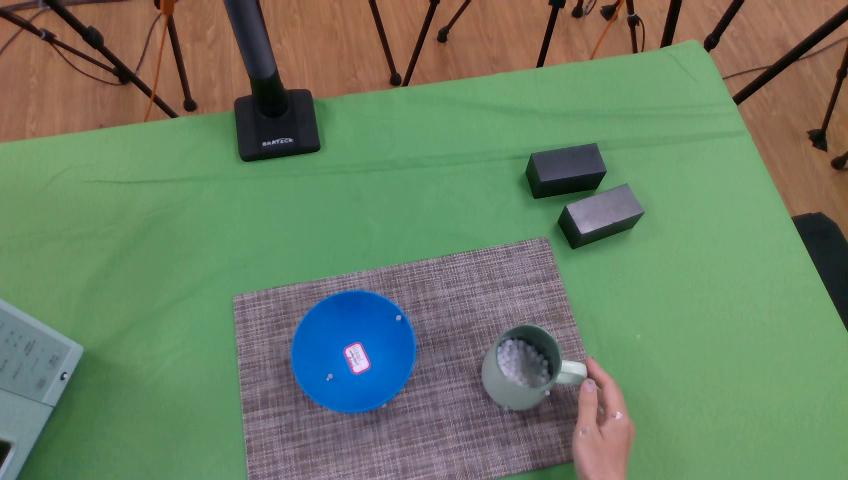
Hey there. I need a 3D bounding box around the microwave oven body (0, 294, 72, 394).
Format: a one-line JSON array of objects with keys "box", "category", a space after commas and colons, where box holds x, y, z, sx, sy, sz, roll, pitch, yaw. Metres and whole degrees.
[{"box": [-0.642, 0.224, 0.596, 0.326, 0.262, 0.439, 16, 66, 4], "category": "microwave oven body"}]

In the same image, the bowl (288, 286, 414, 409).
[{"box": [-0.087, 0.141, 0.757, 0.151, 0.077, 0.150, 1, 65, -1], "category": "bowl"}]

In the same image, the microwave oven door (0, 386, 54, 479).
[{"box": [-0.513, 0.297, 0.563, 0.039, 0.245, 0.353, 15, 66, 6], "category": "microwave oven door"}]

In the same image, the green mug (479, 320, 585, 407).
[{"box": [0.134, 0.154, 0.745, 0.125, 0.105, 0.092, 7, 65, 1], "category": "green mug"}]

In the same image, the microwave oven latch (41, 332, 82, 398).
[{"box": [-0.453, 0.151, 0.744, 0.030, 0.030, 0.078, 17, 67, 5], "category": "microwave oven latch"}]
